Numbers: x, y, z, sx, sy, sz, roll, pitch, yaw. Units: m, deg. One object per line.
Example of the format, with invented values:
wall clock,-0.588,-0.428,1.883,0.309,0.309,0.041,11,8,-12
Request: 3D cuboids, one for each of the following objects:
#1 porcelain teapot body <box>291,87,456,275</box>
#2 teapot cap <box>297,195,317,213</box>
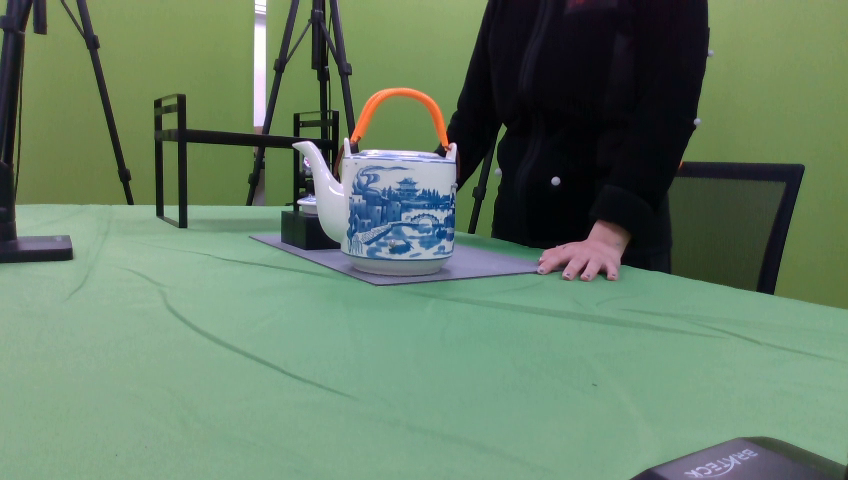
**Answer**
porcelain teapot body,-0.061,-0.076,0.754,0.206,0.225,0.145,0,8,-12
teapot cap,-0.157,-0.065,0.950,0.085,0.044,0.085,0,9,0
